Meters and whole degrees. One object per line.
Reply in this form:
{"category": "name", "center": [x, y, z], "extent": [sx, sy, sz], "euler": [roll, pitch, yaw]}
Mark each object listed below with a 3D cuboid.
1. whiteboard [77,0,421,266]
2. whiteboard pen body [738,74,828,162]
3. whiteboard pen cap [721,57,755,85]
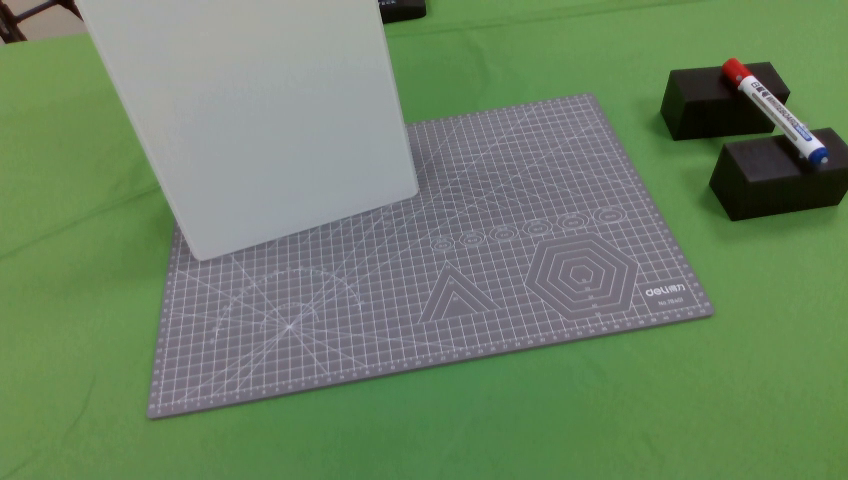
{"category": "whiteboard", "center": [-0.150, -0.168, 0.546], "extent": [0.217, 0.308, 0.142], "euler": [-18, 32, -8]}
{"category": "whiteboard pen body", "center": [0.314, -0.119, 0.545], "extent": [0.017, 0.017, 0.139], "euler": [-13, 50, -5]}
{"category": "whiteboard pen cap", "center": [0.302, -0.161, 0.582], "extent": [0.017, 0.017, 0.032], "euler": [-15, 49, -6]}
